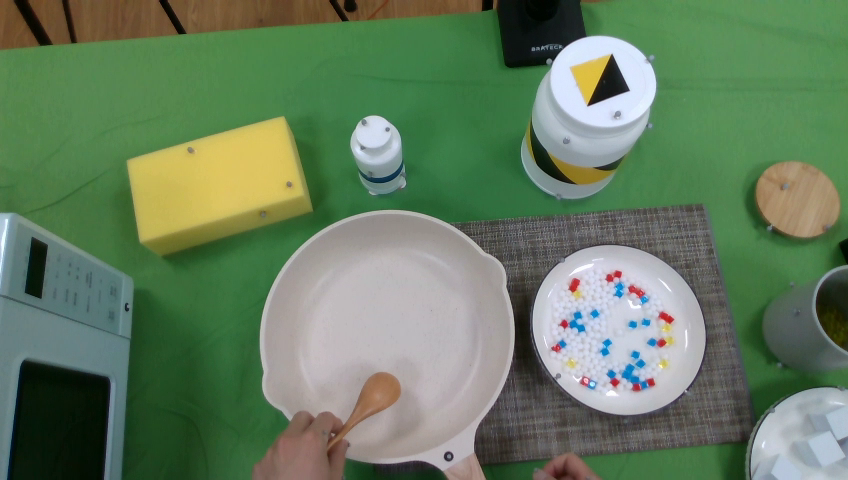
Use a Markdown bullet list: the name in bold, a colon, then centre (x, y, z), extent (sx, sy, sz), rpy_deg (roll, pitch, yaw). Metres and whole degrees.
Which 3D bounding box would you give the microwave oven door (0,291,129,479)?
- **microwave oven door**: centre (-0.365, 0.245, 0.578), extent (0.039, 0.245, 0.353), rpy_deg (-4, 73, -1)

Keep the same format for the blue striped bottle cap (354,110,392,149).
- **blue striped bottle cap**: centre (-0.061, -0.131, 0.717), extent (0.044, 0.021, 0.044), rpy_deg (-1, 70, 2)

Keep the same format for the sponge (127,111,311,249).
- **sponge**: centre (-0.264, -0.078, 0.788), extent (0.207, 0.061, 0.117), rpy_deg (-18, 74, -5)

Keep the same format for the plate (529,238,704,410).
- **plate**: centre (0.230, 0.100, 0.738), extent (0.209, 0.038, 0.208), rpy_deg (0, 73, 1)

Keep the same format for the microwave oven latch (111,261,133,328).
- **microwave oven latch**: centre (-0.374, 0.067, 0.738), extent (0.030, 0.029, 0.078), rpy_deg (-3, 74, -1)

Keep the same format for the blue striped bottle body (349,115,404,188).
- **blue striped bottle body**: centre (-0.059, -0.117, 0.767), extent (0.063, 0.121, 0.062), rpy_deg (0, 73, 1)

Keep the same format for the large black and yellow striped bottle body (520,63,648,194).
- **large black and yellow striped bottle body**: centre (0.193, -0.149, 0.742), extent (0.131, 0.185, 0.130), rpy_deg (0, 72, 1)

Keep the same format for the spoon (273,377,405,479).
- **spoon**: centre (-0.093, 0.207, 0.646), extent (0.194, 0.041, 0.021), rpy_deg (-30, 83, -28)

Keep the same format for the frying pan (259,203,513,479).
- **frying pan**: centre (0.005, 0.185, 0.681), extent (0.307, 0.103, 0.483), rpy_deg (-27, 67, -6)

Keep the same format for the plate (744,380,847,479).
- **plate**: centre (0.467, 0.265, 0.690), extent (0.208, 0.039, 0.206), rpy_deg (0, 73, 1)

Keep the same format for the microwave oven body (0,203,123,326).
- **microwave oven body**: centre (-0.512, 0.217, 0.594), extent (0.326, 0.261, 0.439), rpy_deg (-4, 74, -1)

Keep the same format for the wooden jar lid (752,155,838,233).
- **wooden jar lid**: centre (0.484, -0.059, 0.797), extent (0.108, 0.021, 0.108), rpy_deg (0, 75, 1)

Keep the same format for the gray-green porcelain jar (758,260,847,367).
- **gray-green porcelain jar**: centre (0.461, 0.089, 0.697), extent (0.106, 0.127, 0.105), rpy_deg (0, 73, 1)

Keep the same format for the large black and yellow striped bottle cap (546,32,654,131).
- **large black and yellow striped bottle cap**: centre (0.191, -0.174, 0.660), extent (0.115, 0.019, 0.114), rpy_deg (0, 72, 1)
